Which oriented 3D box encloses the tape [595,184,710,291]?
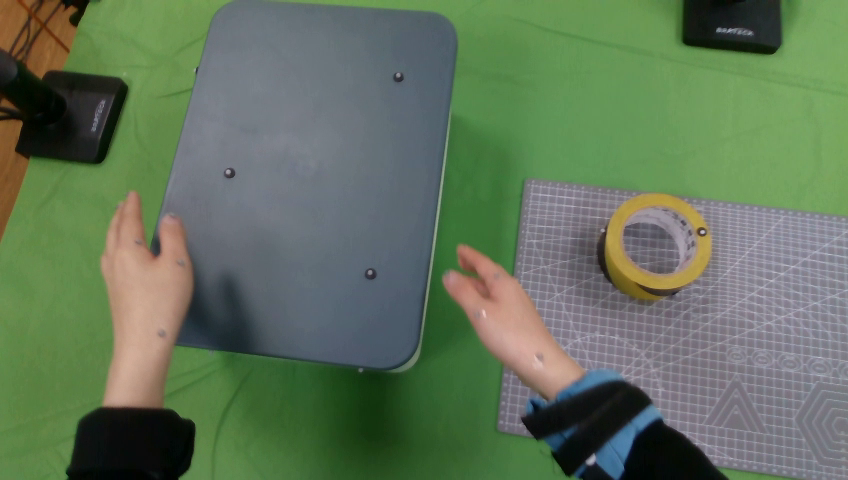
[{"bbox_3d":[0.256,-0.001,0.679,0.117,0.053,0.116,-1,74,3],"label":"tape"}]

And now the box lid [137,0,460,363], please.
[{"bbox_3d":[-0.112,-0.079,0.587,0.263,0.015,0.369,6,75,5],"label":"box lid"}]

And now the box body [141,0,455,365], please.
[{"bbox_3d":[-0.109,-0.056,0.658,0.254,0.161,0.362,6,74,4],"label":"box body"}]
